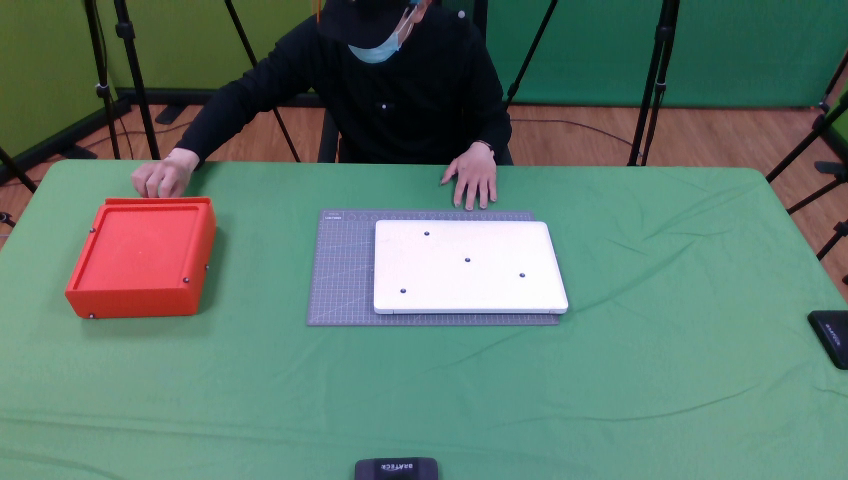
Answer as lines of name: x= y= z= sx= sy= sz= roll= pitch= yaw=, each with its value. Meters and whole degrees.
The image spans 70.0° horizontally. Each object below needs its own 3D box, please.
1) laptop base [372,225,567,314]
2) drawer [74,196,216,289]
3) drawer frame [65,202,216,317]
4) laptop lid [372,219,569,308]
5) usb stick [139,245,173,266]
laptop base: x=0.080 y=0.049 z=1.158 sx=0.355 sy=0.023 sz=0.234 roll=0 pitch=43 yaw=-4
drawer: x=-0.500 y=0.014 z=1.105 sx=0.195 sy=0.073 sz=0.210 roll=0 pitch=47 yaw=-6
drawer frame: x=-0.497 y=0.029 z=1.090 sx=0.202 sy=0.083 sz=0.212 roll=-1 pitch=47 yaw=-6
laptop lid: x=0.081 y=0.039 z=1.152 sx=0.357 sy=0.013 sz=0.240 roll=2 pitch=44 yaw=-3
usb stick: x=-0.498 y=0.027 z=1.119 sx=0.059 sy=0.027 sz=0.021 roll=11 pitch=46 yaw=6
